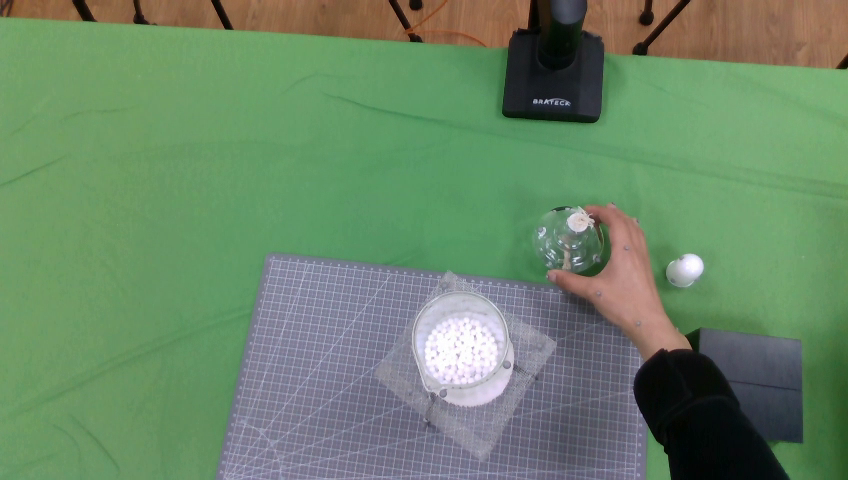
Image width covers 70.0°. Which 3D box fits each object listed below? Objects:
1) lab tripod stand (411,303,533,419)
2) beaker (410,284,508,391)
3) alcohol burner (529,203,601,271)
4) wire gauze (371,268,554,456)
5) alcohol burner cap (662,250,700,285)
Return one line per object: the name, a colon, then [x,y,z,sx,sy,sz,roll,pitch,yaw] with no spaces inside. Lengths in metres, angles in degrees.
lab tripod stand: [0.042,0.119,0.608,0.148,0.132,0.147,-1,72,3]
beaker: [0.027,0.088,0.499,0.073,0.101,0.084,31,77,13]
alcohol burner: [0.155,-0.009,0.652,0.078,0.120,0.077,0,73,2]
wire gauze: [0.034,0.105,0.544,0.124,0.011,0.121,35,80,11]
alcohol burner cap: [0.286,0.029,0.668,0.034,0.048,0.033,-1,73,5]
